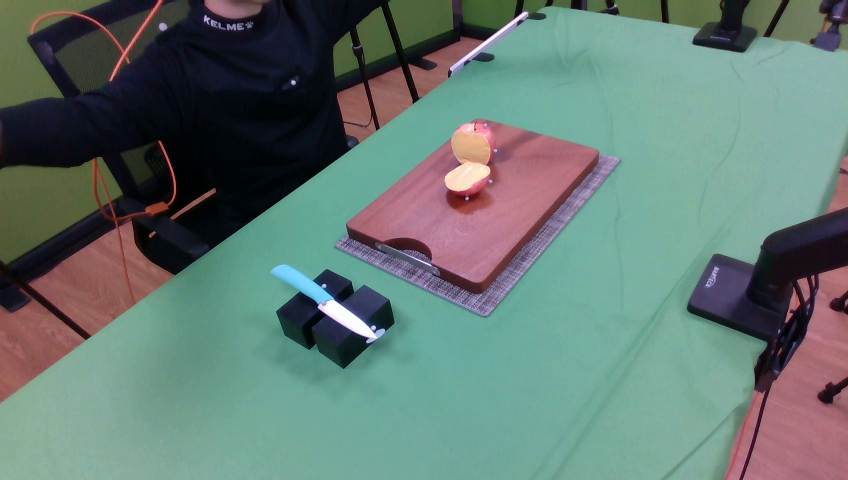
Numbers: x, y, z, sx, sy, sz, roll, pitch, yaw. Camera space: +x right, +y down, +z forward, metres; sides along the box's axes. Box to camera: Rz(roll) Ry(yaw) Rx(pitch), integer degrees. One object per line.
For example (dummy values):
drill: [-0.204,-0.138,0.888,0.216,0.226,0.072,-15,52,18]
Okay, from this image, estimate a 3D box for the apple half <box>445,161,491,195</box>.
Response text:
apple half: [0.076,-0.099,1.020,0.081,0.033,0.081,-16,36,12]

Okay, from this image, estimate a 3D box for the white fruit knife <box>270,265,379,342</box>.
white fruit knife: [-0.136,0.084,0.823,0.206,0.016,0.027,30,64,30]

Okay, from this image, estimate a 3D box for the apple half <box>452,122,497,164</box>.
apple half: [0.095,-0.173,1.073,0.080,0.075,0.053,13,40,28]
